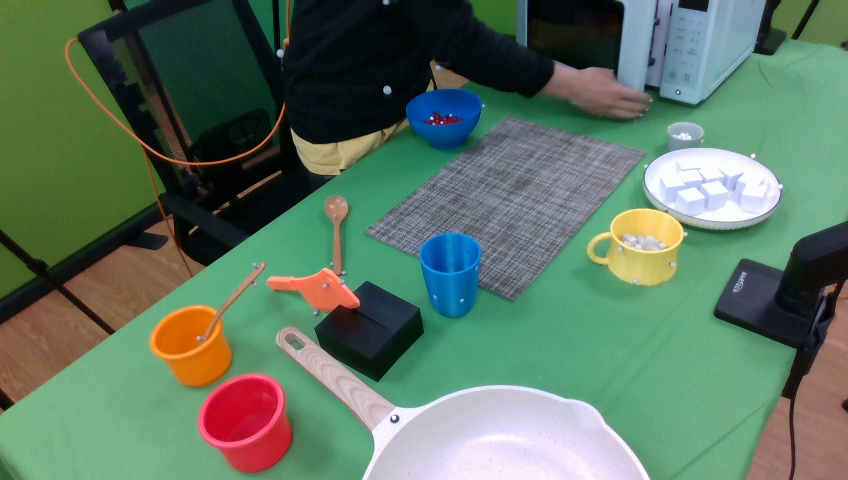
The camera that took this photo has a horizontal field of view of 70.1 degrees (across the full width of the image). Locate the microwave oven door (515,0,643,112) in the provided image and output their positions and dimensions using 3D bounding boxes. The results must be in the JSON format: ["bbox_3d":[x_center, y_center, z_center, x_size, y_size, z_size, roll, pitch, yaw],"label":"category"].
[{"bbox_3d":[0.310,-0.436,1.236,0.039,0.245,0.352,-27,44,-21],"label":"microwave oven door"}]

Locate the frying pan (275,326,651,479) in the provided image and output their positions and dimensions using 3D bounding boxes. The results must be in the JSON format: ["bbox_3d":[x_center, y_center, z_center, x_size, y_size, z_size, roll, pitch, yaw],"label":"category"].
[{"bbox_3d":[0.003,0.229,0.641,0.484,0.103,0.308,34,54,28],"label":"frying pan"}]

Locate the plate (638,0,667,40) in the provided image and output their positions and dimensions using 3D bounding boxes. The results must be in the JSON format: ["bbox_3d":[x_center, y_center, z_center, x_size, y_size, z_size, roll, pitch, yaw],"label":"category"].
[{"bbox_3d":[0.437,-0.492,1.368,0.209,0.038,0.208,-6,40,6],"label":"plate"}]

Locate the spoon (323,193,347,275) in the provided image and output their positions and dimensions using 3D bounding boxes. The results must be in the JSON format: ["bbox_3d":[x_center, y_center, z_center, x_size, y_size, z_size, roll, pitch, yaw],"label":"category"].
[{"bbox_3d":[-0.149,-0.014,1.008,0.042,0.021,0.192,5,39,-13],"label":"spoon"}]

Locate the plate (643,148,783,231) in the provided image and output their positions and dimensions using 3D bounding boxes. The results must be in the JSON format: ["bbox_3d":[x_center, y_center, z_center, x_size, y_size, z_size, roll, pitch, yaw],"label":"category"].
[{"bbox_3d":[0.464,-0.079,0.985,0.207,0.039,0.206,-4,41,4],"label":"plate"}]

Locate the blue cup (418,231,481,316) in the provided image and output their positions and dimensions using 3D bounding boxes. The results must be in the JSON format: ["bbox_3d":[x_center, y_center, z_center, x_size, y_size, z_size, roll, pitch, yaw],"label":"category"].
[{"bbox_3d":[0.039,0.053,0.843,0.092,0.100,0.092,-4,43,4],"label":"blue cup"}]

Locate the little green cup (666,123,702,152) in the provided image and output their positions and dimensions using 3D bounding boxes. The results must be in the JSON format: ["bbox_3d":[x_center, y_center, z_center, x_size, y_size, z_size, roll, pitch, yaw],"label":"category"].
[{"bbox_3d":[0.472,-0.183,1.102,0.061,0.039,0.061,-5,40,5],"label":"little green cup"}]

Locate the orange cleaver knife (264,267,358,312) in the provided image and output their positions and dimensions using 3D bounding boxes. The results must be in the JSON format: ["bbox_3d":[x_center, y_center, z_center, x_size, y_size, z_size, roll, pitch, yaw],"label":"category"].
[{"bbox_3d":[-0.165,0.073,0.864,0.210,0.077,0.012,-6,31,50],"label":"orange cleaver knife"}]

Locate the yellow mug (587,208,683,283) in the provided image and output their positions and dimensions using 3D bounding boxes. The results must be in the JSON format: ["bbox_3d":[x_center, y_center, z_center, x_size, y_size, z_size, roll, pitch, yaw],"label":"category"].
[{"bbox_3d":[0.305,0.009,0.884,0.131,0.064,0.099,-4,41,5],"label":"yellow mug"}]

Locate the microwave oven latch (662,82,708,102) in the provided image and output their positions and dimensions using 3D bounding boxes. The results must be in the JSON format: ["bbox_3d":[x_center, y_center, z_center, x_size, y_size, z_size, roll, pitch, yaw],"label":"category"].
[{"bbox_3d":[0.518,-0.298,1.202,0.078,0.029,0.030,29,53,36],"label":"microwave oven latch"}]

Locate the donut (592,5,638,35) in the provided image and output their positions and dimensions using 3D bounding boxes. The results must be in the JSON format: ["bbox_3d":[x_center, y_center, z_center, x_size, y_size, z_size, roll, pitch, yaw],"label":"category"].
[{"bbox_3d":[0.427,-0.491,1.350,0.099,0.048,0.098,-8,39,7],"label":"donut"}]

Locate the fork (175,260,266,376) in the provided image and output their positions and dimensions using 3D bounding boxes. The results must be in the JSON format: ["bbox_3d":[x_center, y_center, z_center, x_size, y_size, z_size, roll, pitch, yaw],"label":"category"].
[{"bbox_3d":[-0.268,0.103,0.792,0.207,0.019,0.028,-51,41,17],"label":"fork"}]

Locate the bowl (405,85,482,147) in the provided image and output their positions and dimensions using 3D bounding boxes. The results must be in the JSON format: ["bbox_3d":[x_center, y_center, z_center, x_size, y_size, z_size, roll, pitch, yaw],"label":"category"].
[{"bbox_3d":[0.041,-0.236,1.196,0.151,0.077,0.150,-4,40,4],"label":"bowl"}]

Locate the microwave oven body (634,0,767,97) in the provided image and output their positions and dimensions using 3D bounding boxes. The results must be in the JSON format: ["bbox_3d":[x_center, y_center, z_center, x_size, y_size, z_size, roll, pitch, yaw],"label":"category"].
[{"bbox_3d":[0.473,-0.516,1.313,0.438,0.261,0.327,26,51,34],"label":"microwave oven body"}]
